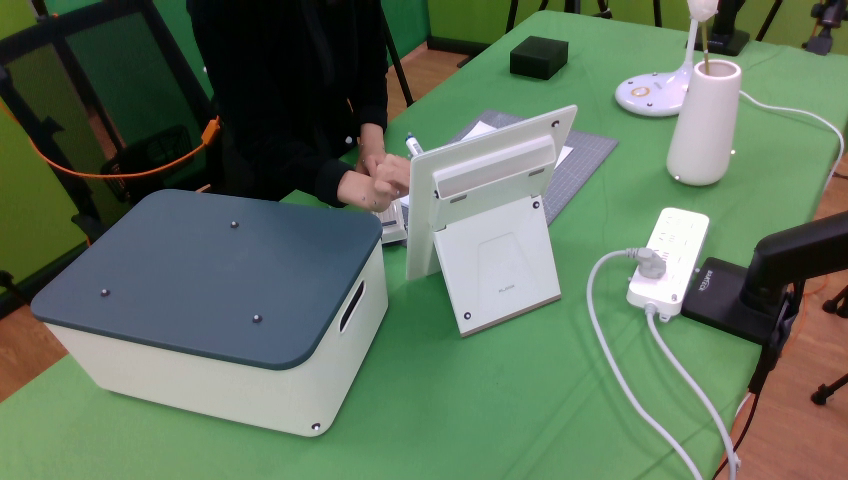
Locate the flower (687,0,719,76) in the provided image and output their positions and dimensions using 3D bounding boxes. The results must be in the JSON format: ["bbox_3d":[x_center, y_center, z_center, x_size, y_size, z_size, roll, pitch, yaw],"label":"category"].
[{"bbox_3d":[0.436,-0.242,0.934,0.038,0.364,0.043,-24,49,8],"label":"flower"}]

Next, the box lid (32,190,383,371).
[{"bbox_3d":[-0.257,0.032,0.750,0.370,0.015,0.263,7,41,16],"label":"box lid"}]

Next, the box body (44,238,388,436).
[{"bbox_3d":[-0.251,0.088,0.799,0.362,0.161,0.254,7,42,16],"label":"box body"}]

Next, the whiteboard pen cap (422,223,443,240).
[{"bbox_3d":[0.013,-0.013,0.988,0.033,0.018,0.018,-31,46,-22],"label":"whiteboard pen cap"}]

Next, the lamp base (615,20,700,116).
[{"bbox_3d":[0.484,-0.364,1.211,0.180,0.181,0.159,-15,41,-14],"label":"lamp base"}]

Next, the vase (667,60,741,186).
[{"bbox_3d":[0.463,-0.189,0.994,0.098,0.201,0.097,-4,40,4],"label":"vase"}]

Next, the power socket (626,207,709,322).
[{"bbox_3d":[0.360,0.026,0.886,0.072,0.033,0.227,17,46,27],"label":"power socket"}]

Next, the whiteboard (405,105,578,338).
[{"bbox_3d":[0.102,0.003,0.787,0.218,0.306,0.143,-19,62,-14],"label":"whiteboard"}]

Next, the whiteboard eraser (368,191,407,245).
[{"bbox_3d":[-0.061,-0.035,1.005,0.056,0.042,0.112,-9,40,-3],"label":"whiteboard eraser"}]

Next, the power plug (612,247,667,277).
[{"bbox_3d":[0.306,0.031,0.852,0.072,0.053,0.035,21,48,37],"label":"power plug"}]

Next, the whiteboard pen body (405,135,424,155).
[{"bbox_3d":[0.010,-0.091,0.838,0.017,0.017,0.140,-22,66,-17],"label":"whiteboard pen body"}]
